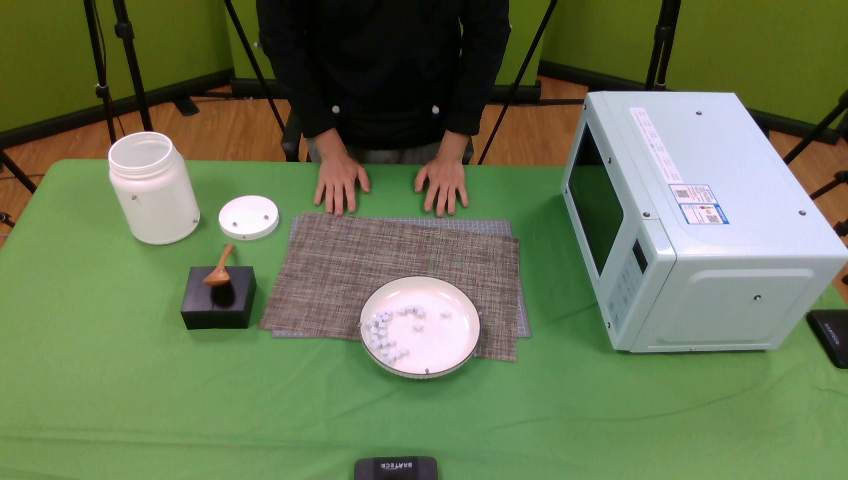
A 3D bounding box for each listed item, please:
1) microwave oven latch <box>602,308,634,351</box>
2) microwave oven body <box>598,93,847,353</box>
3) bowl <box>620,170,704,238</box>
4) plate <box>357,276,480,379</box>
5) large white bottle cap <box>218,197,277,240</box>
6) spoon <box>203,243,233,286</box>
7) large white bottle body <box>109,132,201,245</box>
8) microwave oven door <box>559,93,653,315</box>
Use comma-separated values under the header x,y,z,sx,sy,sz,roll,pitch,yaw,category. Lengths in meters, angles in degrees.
x,y,z,sx,sy,sz,roll,pitch,yaw,category
0.332,0.153,1.044,0.030,0.029,0.078,-1,45,-4,microwave oven latch
0.475,-0.041,1.109,0.326,0.261,0.438,-1,45,-4,microwave oven body
0.445,-0.057,1.166,0.151,0.077,0.150,2,46,-2,bowl
-0.010,0.151,1.038,0.209,0.038,0.208,2,47,-2,plate
-0.354,-0.045,1.220,0.115,0.018,0.114,2,45,-2,large white bottle cap
-0.360,0.039,1.087,0.041,0.022,0.192,-5,24,-7,spoon
-0.506,-0.097,1.141,0.131,0.185,0.130,2,46,-2,large white bottle body
0.327,-0.074,1.123,0.039,0.245,0.353,-1,46,-5,microwave oven door
